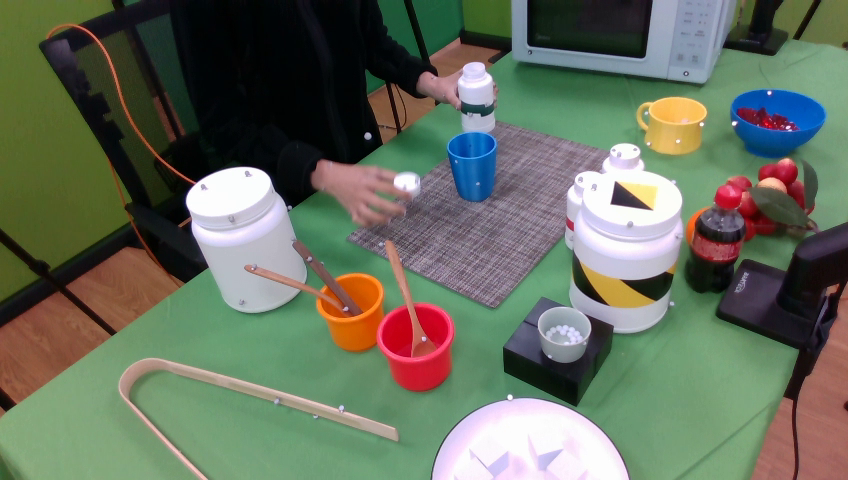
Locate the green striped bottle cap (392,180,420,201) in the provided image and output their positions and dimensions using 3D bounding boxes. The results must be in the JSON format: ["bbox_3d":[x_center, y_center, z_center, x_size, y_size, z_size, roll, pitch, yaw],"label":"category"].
[{"bbox_3d":[-0.029,-0.080,0.970,0.044,0.020,0.044,3,26,-1],"label":"green striped bottle cap"}]

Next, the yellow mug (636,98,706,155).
[{"bbox_3d":[0.453,-0.217,1.128,0.100,0.064,0.129,-34,46,-27],"label":"yellow mug"}]

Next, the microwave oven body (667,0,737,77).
[{"bbox_3d":[0.462,-0.552,1.369,0.439,0.261,0.326,15,45,26],"label":"microwave oven body"}]

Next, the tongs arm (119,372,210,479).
[{"bbox_3d":[-0.258,0.257,0.700,0.384,0.028,0.028,24,55,34],"label":"tongs arm"}]

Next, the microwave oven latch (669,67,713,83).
[{"bbox_3d":[0.556,-0.349,1.261,0.078,0.029,0.030,16,46,27],"label":"microwave oven latch"}]

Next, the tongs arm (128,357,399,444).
[{"bbox_3d":[-0.213,0.205,0.755,0.382,0.026,0.051,12,46,23],"label":"tongs arm"}]

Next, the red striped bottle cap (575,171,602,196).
[{"bbox_3d":[0.242,-0.081,0.876,0.044,0.018,0.044,-5,43,5],"label":"red striped bottle cap"}]

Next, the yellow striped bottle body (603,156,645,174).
[{"bbox_3d":[0.313,-0.089,0.955,0.063,0.121,0.062,-5,40,4],"label":"yellow striped bottle body"}]

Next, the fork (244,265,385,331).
[{"bbox_3d":[-0.142,0.078,0.806,0.209,0.018,0.028,30,32,-24],"label":"fork"}]

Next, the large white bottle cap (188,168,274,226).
[{"bbox_3d":[-0.265,-0.061,0.831,0.115,0.018,0.114,-4,40,4],"label":"large white bottle cap"}]

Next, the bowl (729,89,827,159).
[{"bbox_3d":[0.615,-0.197,1.069,0.151,0.077,0.150,-5,40,5],"label":"bowl"}]

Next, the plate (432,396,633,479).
[{"bbox_3d":[0.112,0.261,0.634,0.209,0.038,0.208,-5,40,4],"label":"plate"}]

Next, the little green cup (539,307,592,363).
[{"bbox_3d":[0.168,0.115,0.721,0.061,0.039,0.061,-4,42,4],"label":"little green cup"}]

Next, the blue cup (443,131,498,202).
[{"bbox_3d":[0.086,-0.122,1.040,0.092,0.100,0.092,-5,42,5],"label":"blue cup"}]

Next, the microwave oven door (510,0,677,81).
[{"bbox_3d":[0.354,-0.478,1.290,0.353,0.245,0.039,15,45,25],"label":"microwave oven door"}]

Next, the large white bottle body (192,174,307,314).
[{"bbox_3d":[-0.256,0.003,0.885,0.130,0.185,0.130,-4,40,4],"label":"large white bottle body"}]

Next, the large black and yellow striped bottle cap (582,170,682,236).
[{"bbox_3d":[0.252,-0.048,0.735,0.115,0.019,0.114,-3,40,3],"label":"large black and yellow striped bottle cap"}]

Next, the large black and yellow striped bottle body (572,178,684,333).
[{"bbox_3d":[0.262,0.017,0.788,0.131,0.185,0.130,-5,40,4],"label":"large black and yellow striped bottle body"}]

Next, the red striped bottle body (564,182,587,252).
[{"bbox_3d":[0.246,-0.041,0.910,0.063,0.120,0.062,-2,38,2],"label":"red striped bottle body"}]

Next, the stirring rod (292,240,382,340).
[{"bbox_3d":[-0.119,0.068,0.826,0.176,0.006,0.014,49,59,-4],"label":"stirring rod"}]

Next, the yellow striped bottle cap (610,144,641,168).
[{"bbox_3d":[0.307,-0.128,0.923,0.044,0.019,0.044,-6,40,5],"label":"yellow striped bottle cap"}]

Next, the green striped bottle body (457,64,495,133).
[{"bbox_3d":[0.094,-0.255,1.092,0.063,0.120,0.063,-6,40,5],"label":"green striped bottle body"}]

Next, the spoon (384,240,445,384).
[{"bbox_3d":[-0.016,0.090,0.776,0.042,0.021,0.193,-17,86,-9],"label":"spoon"}]
